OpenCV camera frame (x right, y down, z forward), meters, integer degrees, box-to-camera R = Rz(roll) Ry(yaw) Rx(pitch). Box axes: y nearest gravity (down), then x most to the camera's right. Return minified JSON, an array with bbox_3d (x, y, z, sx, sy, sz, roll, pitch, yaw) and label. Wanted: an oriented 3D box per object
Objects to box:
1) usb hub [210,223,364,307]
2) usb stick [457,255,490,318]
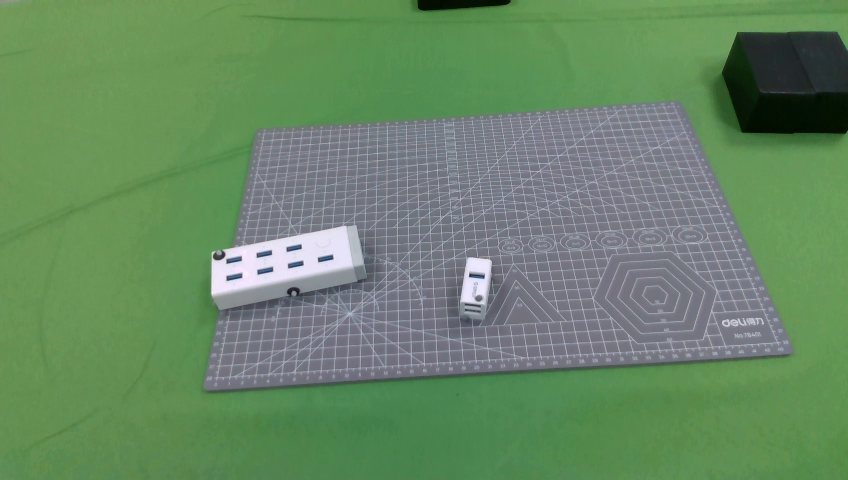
[{"bbox_3d":[-0.117,0.019,0.517,0.125,0.025,0.049,-11,52,-5],"label":"usb hub"},{"bbox_3d":[0.042,0.032,0.496,0.021,0.027,0.058,5,50,11],"label":"usb stick"}]
